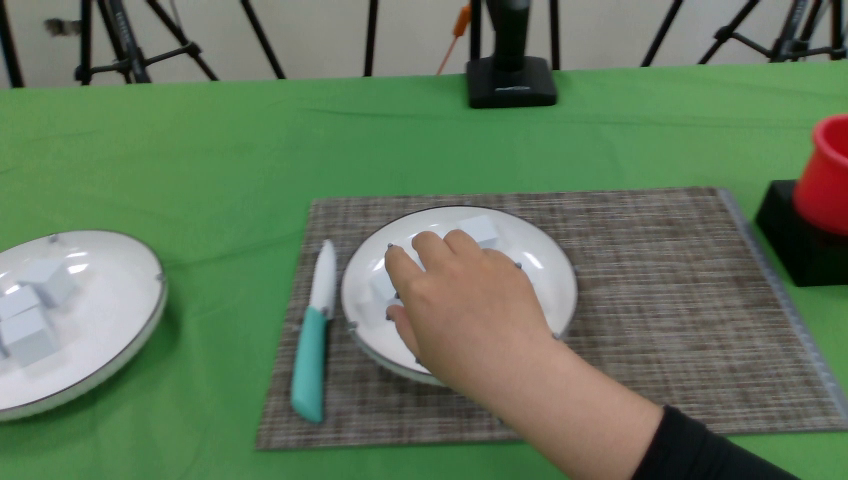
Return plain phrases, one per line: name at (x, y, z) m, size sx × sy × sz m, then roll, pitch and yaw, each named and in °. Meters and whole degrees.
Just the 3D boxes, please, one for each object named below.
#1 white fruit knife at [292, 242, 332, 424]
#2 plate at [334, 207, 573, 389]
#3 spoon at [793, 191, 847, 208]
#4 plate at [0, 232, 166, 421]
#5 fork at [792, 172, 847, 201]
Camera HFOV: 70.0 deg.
white fruit knife at (-0.097, 0.071, 0.542) m, size 0.027 × 0.016 × 0.205 m, roll 19°, pitch 37°, yaw -19°
plate at (0.026, 0.049, 0.543) m, size 0.208 × 0.039 × 0.205 m, roll -1°, pitch 43°, yaw 1°
spoon at (0.400, -0.056, 0.490) m, size 0.041 × 0.193 × 0.021 m, roll -27°, pitch 90°, yaw -31°
plate at (-0.333, 0.073, 0.534) m, size 0.209 × 0.038 × 0.207 m, roll -1°, pitch 42°, yaw 1°
fork at (0.427, -0.085, 0.522) m, size 0.207 × 0.019 × 0.028 m, roll -33°, pitch 11°, yaw 26°
